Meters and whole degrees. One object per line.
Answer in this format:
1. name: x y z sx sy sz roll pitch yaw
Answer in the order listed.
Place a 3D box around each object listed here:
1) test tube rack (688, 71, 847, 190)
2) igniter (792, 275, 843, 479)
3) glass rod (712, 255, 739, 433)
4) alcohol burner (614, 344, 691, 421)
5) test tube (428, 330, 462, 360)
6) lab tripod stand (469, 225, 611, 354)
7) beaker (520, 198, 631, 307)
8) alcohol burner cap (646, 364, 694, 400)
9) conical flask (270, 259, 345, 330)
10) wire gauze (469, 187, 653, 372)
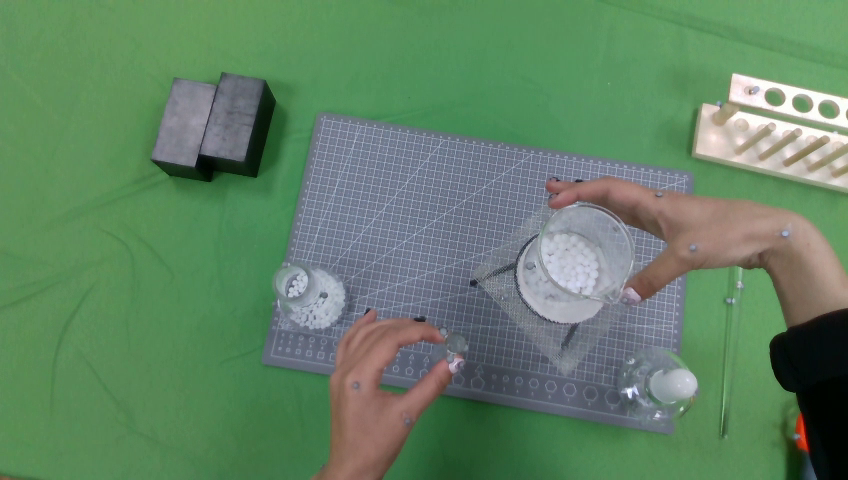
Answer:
1. test tube rack: 0.439 -0.115 0.683 0.242 0.085 0.066 13 77 2
2. igniter: 0.424 0.174 0.649 0.057 0.025 0.275 14 78 -9
3. glass rod: 0.335 0.113 0.671 0.008 0.008 0.199 11 80 1
4. alcohol burner: 0.234 0.141 0.606 0.078 0.119 0.077 0 76 2
5. test tube: 0.016 0.090 0.511 0.017 0.151 0.017 1 76 -4
6. lab tripod stand: 0.122 0.044 0.616 0.148 0.132 0.147 0 79 1
7. beaker: 0.122 0.018 0.505 0.074 0.100 0.083 -29 79 -6
8. alcohol burner cap: 0.235 0.132 0.571 0.034 0.048 0.033 2 71 -5
9. conical flask: -0.124 0.049 0.616 0.075 0.122 0.075 0 77 -1
10. wire gauze: 0.124 0.032 0.551 0.121 0.011 0.124 -43 83 -6
